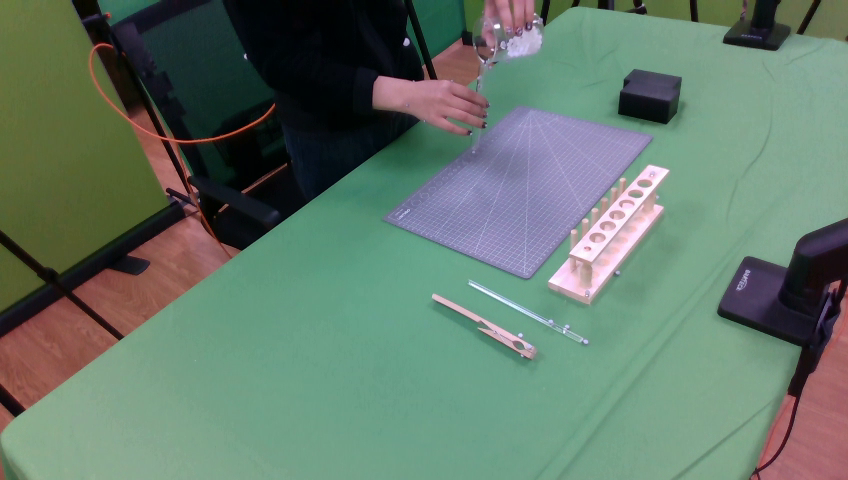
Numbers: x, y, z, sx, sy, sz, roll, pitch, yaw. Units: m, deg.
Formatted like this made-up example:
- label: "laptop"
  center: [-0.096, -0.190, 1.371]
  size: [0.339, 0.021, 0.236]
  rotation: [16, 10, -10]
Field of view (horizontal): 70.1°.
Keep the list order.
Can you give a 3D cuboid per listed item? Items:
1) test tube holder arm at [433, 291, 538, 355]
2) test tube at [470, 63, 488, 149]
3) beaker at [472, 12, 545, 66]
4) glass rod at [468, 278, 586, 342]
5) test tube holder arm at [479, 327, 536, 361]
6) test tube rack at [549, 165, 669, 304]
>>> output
- label: "test tube holder arm"
  center: [0.081, 0.112, 0.832]
  size: [0.177, 0.015, 0.013]
  rotation: [29, 82, 36]
- label: "test tube"
  center: [0.094, -0.229, 1.045]
  size: [0.017, 0.150, 0.017]
  rotation: [4, 29, -2]
- label: "beaker"
  center: [0.141, -0.334, 1.001]
  size: [0.101, 0.084, 0.073]
  rotation: [-15, 43, -21]
- label: "glass rod"
  center: [0.140, 0.096, 0.853]
  size: [0.198, 0.008, 0.008]
  rotation: [27, 53, 35]
- label: "test tube holder arm"
  center: [0.110, 0.134, 0.805]
  size: [0.087, 0.015, 0.010]
  rotation: [29, 83, 36]
- label: "test tube rack"
  center: [0.279, -0.018, 0.902]
  size: [0.066, 0.085, 0.243]
  rotation: [24, 50, 33]
